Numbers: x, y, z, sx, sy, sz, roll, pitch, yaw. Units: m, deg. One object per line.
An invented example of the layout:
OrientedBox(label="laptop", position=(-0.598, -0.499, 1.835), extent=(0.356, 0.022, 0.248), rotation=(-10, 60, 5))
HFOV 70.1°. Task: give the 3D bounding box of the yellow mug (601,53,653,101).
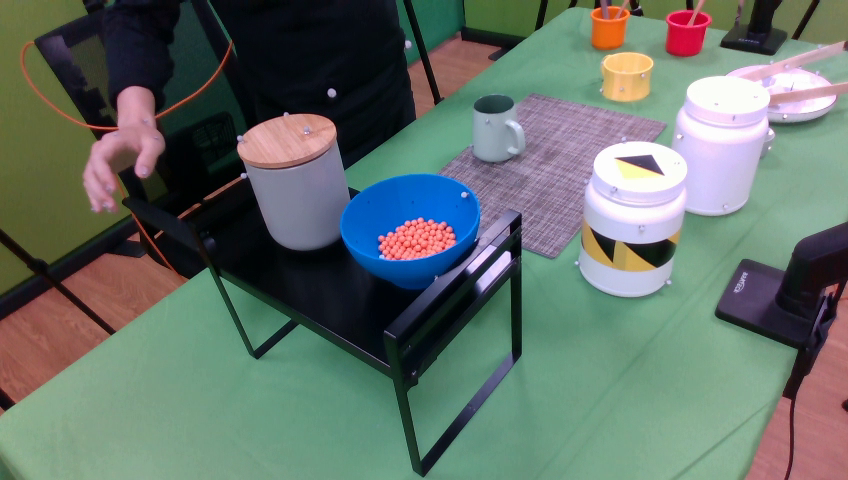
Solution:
OrientedBox(label="yellow mug", position=(0.423, -0.354, 1.292), extent=(0.100, 0.064, 0.129), rotation=(-23, 42, -16))

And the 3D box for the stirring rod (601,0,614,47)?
OrientedBox(label="stirring rod", position=(0.439, -0.552, 1.463), extent=(0.014, 0.006, 0.175), rotation=(-7, 83, 2))

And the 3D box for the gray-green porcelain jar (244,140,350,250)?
OrientedBox(label="gray-green porcelain jar", position=(-0.144, -0.060, 0.714), extent=(0.106, 0.127, 0.105), rotation=(-4, 41, 4))

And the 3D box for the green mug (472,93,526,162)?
OrientedBox(label="green mug", position=(0.144, -0.202, 1.122), extent=(0.093, 0.105, 0.124), rotation=(-29, 45, -23))

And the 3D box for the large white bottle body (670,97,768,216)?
OrientedBox(label="large white bottle body", position=(0.458, -0.146, 0.952), extent=(0.130, 0.185, 0.130), rotation=(-4, 40, 4))

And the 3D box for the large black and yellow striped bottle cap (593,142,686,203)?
OrientedBox(label="large black and yellow striped bottle cap", position=(0.280, -0.090, 0.786), extent=(0.115, 0.019, 0.114), rotation=(-5, 41, 5))

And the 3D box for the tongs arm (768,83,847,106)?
OrientedBox(label="tongs arm", position=(0.734, -0.280, 1.133), extent=(0.388, 0.028, 0.028), rotation=(-9, 46, -5))

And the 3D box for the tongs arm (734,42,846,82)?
OrientedBox(label="tongs arm", position=(0.708, -0.331, 1.193), extent=(0.386, 0.026, 0.050), rotation=(-18, 45, -15))

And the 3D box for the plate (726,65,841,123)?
OrientedBox(label="plate", position=(0.694, -0.282, 1.189), extent=(0.207, 0.039, 0.206), rotation=(-4, 40, 4))

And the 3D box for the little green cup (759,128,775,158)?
OrientedBox(label="little green cup", position=(0.588, -0.175, 1.080), extent=(0.061, 0.039, 0.061), rotation=(-5, 40, 5))

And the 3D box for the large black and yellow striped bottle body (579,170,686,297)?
OrientedBox(label="large black and yellow striped bottle body", position=(0.287, -0.027, 0.841), extent=(0.131, 0.185, 0.130), rotation=(-4, 40, 4))

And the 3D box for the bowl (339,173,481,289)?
OrientedBox(label="bowl", position=(-0.011, 0.001, 0.660), extent=(0.151, 0.077, 0.150), rotation=(-5, 41, 5))

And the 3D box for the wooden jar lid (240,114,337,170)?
OrientedBox(label="wooden jar lid", position=(-0.149, -0.106, 0.673), extent=(0.108, 0.021, 0.108), rotation=(-6, 39, 5))

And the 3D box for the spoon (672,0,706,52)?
OrientedBox(label="spoon", position=(0.629, -0.520, 1.394), extent=(0.041, 0.022, 0.193), rotation=(29, 97, 34))

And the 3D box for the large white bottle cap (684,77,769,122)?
OrientedBox(label="large white bottle cap", position=(0.448, -0.209, 0.898), extent=(0.115, 0.018, 0.114), rotation=(-4, 40, 4))

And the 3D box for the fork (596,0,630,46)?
OrientedBox(label="fork", position=(0.481, -0.556, 1.453), extent=(0.028, 0.019, 0.207), rotation=(40, 103, 38))
